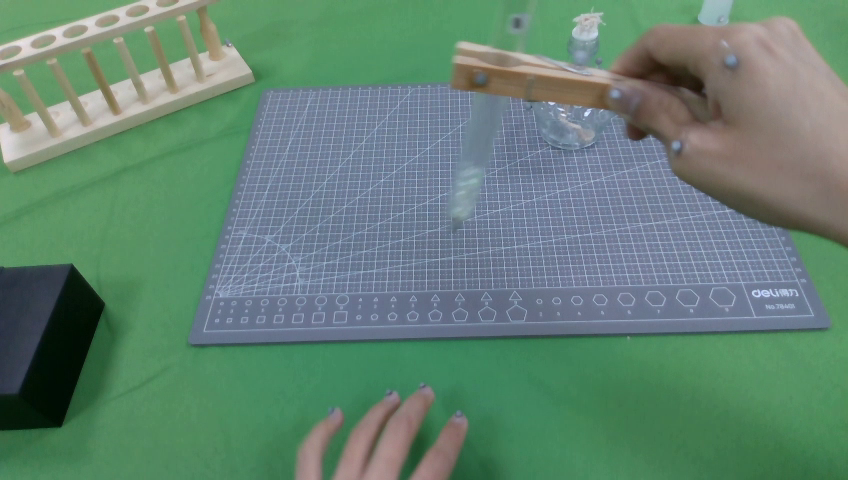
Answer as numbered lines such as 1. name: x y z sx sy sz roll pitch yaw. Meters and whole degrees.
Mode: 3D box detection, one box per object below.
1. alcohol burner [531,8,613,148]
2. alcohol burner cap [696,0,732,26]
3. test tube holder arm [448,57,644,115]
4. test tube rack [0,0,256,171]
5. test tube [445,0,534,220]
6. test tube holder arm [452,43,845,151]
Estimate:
1. alcohol burner: 0.130 -0.138 0.513 0.078 0.120 0.077 -2 49 2
2. alcohol burner cap: 0.315 -0.257 0.647 0.034 0.048 0.033 -3 51 4
3. test tube holder arm: 0.055 -0.070 0.276 0.088 0.015 0.010 7 48 -2
4. test tube rack: -0.299 -0.163 0.586 0.242 0.086 0.066 -26 53 -17
5. test tube: 0.030 -0.067 0.289 0.017 0.151 0.017 7 44 -6
6. test tube holder arm: 0.100 -0.066 0.279 0.178 0.015 0.013 12 49 3
